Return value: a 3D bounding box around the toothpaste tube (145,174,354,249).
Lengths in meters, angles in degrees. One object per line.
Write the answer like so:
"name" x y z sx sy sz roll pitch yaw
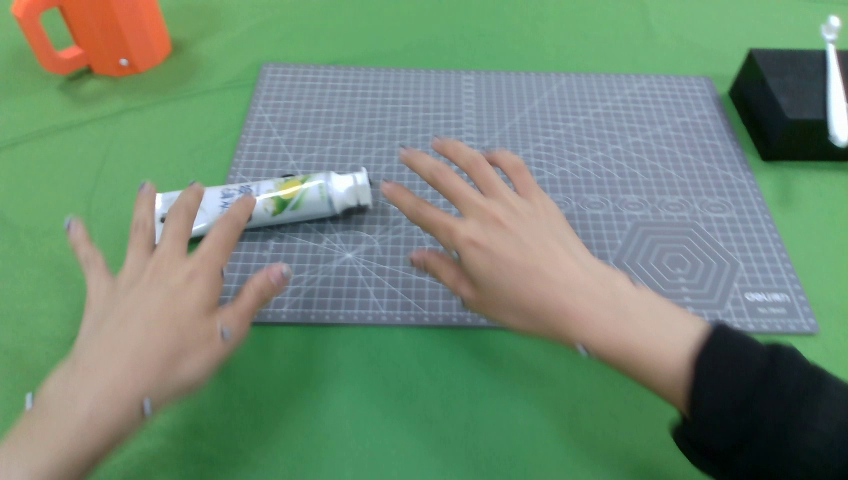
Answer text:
"toothpaste tube" -0.133 -0.028 0.474 0.165 0.035 0.054 -9 47 -4

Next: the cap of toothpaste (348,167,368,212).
"cap of toothpaste" -0.052 -0.039 0.478 0.011 0.037 0.037 -13 52 -12

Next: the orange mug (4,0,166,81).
"orange mug" -0.318 -0.209 0.570 0.083 0.101 0.126 35 54 24

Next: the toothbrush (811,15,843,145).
"toothbrush" 0.354 -0.145 0.531 0.014 0.017 0.180 17 53 9
